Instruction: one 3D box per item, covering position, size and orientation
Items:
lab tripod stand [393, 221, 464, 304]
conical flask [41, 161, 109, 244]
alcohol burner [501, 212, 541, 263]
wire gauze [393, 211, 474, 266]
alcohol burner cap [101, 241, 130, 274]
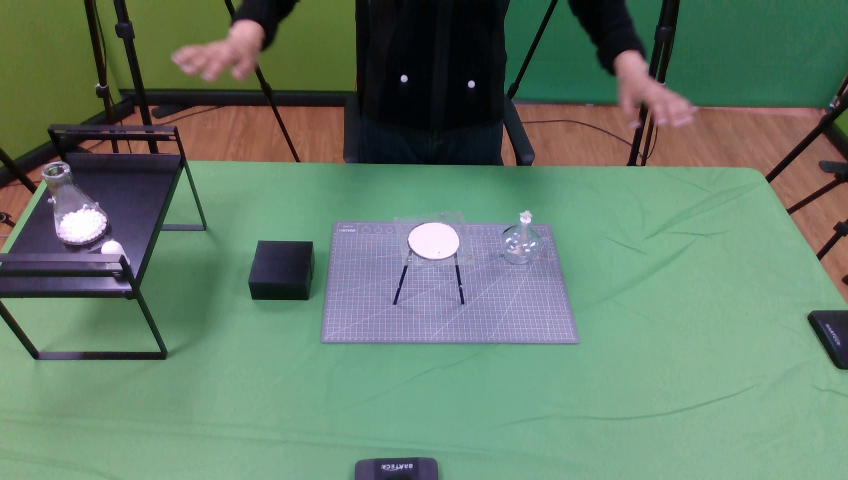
[{"bbox_3d":[0.010,0.045,1.075,0.148,0.132,0.147,2,48,-2],"label":"lab tripod stand"},{"bbox_3d":[-0.522,-0.058,0.894,0.075,0.122,0.075,2,46,-2],"label":"conical flask"},{"bbox_3d":[0.187,-0.011,1.156,0.078,0.120,0.077,1,48,-1],"label":"alcohol burner"},{"bbox_3d":[0.015,-0.003,1.028,0.125,0.011,0.120,-4,47,-7],"label":"wire gauze"},{"bbox_3d":[-0.449,0.022,0.878,0.034,0.048,0.033,2,45,-2],"label":"alcohol burner cap"}]
